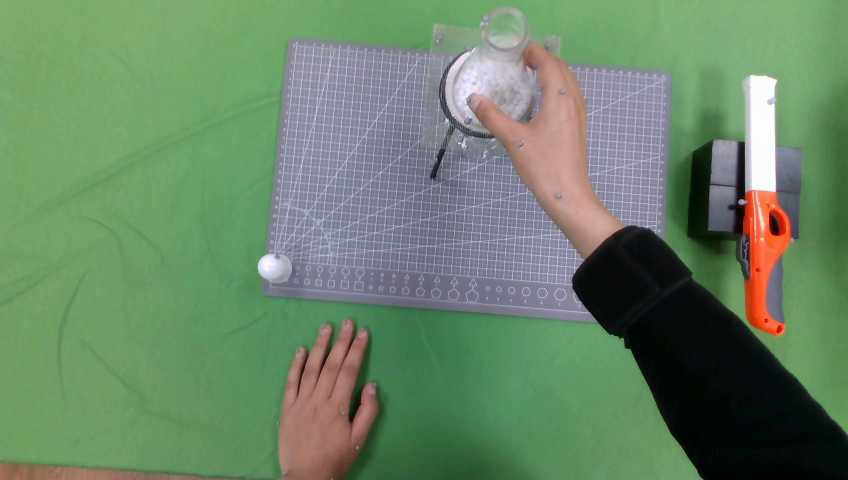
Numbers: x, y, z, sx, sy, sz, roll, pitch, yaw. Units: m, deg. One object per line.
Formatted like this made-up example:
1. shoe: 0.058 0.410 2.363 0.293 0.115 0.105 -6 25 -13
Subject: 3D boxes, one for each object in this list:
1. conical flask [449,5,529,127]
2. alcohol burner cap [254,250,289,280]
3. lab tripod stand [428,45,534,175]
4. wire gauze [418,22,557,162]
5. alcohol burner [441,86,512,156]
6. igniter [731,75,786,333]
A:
1. conical flask: 0.060 -0.149 0.512 0.075 0.122 0.075 0 81 0
2. alcohol burner cap: -0.168 0.025 0.658 0.034 0.048 0.033 0 81 -2
3. lab tripod stand: 0.054 -0.138 0.636 0.148 0.132 0.148 0 83 1
4. wire gauze: 0.061 -0.141 0.571 0.125 0.011 0.121 8 85 -3
5. alcohol burner: 0.057 -0.132 0.645 0.078 0.119 0.077 0 84 1
6. igniter: 0.355 -0.041 0.643 0.057 0.025 0.275 4 81 -5
